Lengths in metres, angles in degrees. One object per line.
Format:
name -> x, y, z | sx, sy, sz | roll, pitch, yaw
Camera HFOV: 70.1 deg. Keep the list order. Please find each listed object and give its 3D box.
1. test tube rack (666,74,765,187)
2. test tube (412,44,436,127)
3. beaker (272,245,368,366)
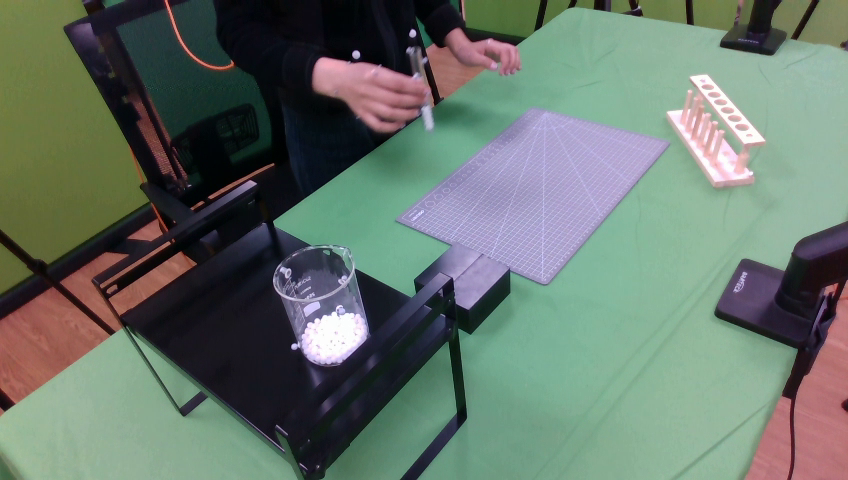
test tube rack -> 0.512, -0.201, 1.082 | 0.067, 0.085, 0.241 | -6, 41, 2
test tube -> 0.001, -0.226, 0.903 | 0.017, 0.151, 0.017 | -5, 53, 7
beaker -> -0.093, 0.064, 0.578 | 0.073, 0.101, 0.084 | 21, 48, 29
